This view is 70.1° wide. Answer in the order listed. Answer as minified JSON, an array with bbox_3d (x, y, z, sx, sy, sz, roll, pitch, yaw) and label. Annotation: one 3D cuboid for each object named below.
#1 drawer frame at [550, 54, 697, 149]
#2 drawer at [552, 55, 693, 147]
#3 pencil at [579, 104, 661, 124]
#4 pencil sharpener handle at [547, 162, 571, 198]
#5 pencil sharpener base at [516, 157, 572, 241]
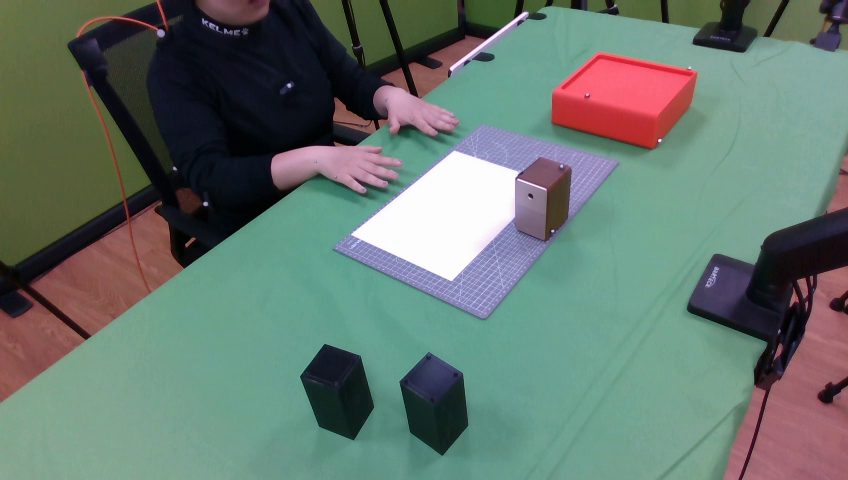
[{"bbox_3d":[0.391,-0.280,1.194,0.212,0.083,0.202,23,48,30],"label":"drawer frame"},{"bbox_3d":[0.389,-0.279,1.196,0.210,0.073,0.195,24,49,31],"label":"drawer"},{"bbox_3d":[0.395,-0.255,1.212,0.195,0.012,0.012,-14,40,-17],"label":"pencil"},{"bbox_3d":[0.221,-0.101,0.968,0.035,0.068,0.031,20,46,37],"label":"pencil sharpener handle"},{"bbox_3d":[0.189,-0.065,0.948,0.061,0.107,0.077,24,49,33],"label":"pencil sharpener base"}]
